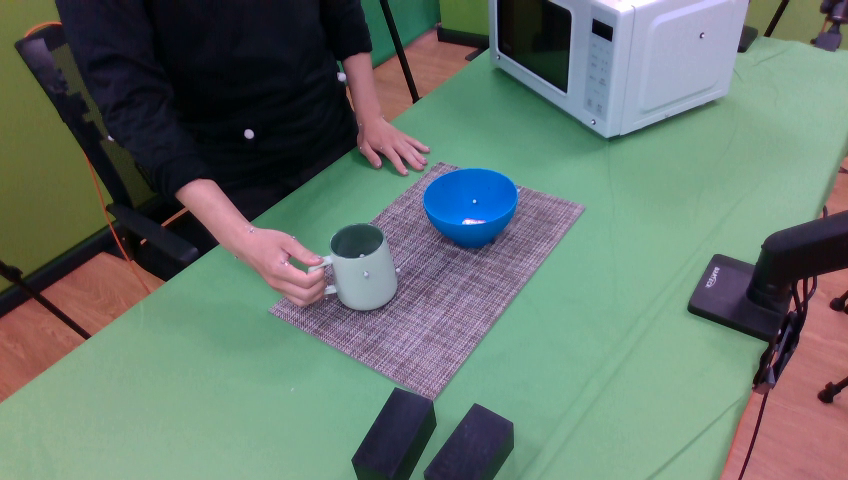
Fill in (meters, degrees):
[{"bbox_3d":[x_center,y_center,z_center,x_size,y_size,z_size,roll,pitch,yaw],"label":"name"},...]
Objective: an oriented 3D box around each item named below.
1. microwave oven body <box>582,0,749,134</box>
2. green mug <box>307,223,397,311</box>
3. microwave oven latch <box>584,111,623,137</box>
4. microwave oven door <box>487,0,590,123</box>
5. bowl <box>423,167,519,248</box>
[{"bbox_3d":[0.382,-0.444,1.246,0.327,0.261,0.437,-22,42,-16],"label":"microwave oven body"},{"bbox_3d":[-0.104,0.045,0.863,0.126,0.105,0.092,-17,42,-11],"label":"green mug"},{"bbox_3d":[0.337,-0.222,1.142,0.030,0.029,0.078,-21,42,-14],"label":"microwave oven latch"},{"bbox_3d":[0.232,-0.420,1.230,0.039,0.245,0.352,-22,42,-16],"label":"microwave oven door"},{"bbox_3d":[0.075,-0.041,0.959,0.151,0.077,0.150,-4,40,4],"label":"bowl"}]
